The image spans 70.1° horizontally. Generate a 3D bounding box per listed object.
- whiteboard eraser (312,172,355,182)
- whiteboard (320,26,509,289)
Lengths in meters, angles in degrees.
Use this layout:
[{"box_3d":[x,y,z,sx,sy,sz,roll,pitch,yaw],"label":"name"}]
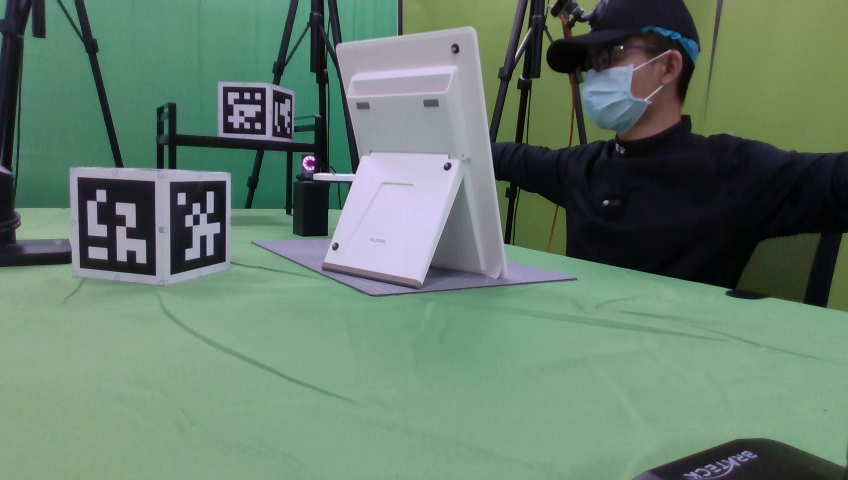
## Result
[{"box_3d":[-0.165,-0.121,1.155,0.102,0.019,0.041,-2,7,-34],"label":"whiteboard eraser"},{"box_3d":[-0.045,-0.076,0.721,0.216,0.305,0.144,9,29,39],"label":"whiteboard"}]
